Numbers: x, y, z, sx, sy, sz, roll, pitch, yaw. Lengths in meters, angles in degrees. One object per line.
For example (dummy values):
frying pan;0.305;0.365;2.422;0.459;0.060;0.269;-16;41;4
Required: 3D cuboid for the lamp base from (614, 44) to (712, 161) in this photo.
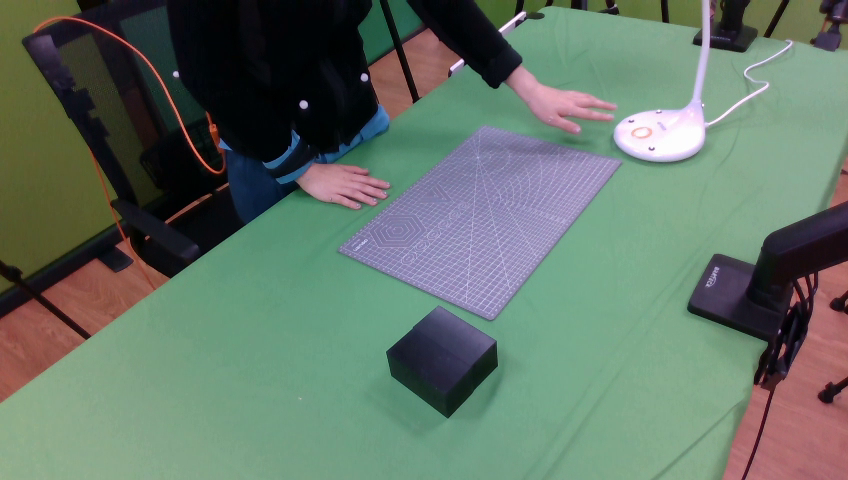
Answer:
lamp base;0.441;-0.257;1.081;0.180;0.181;0.159;-15;41;-12
